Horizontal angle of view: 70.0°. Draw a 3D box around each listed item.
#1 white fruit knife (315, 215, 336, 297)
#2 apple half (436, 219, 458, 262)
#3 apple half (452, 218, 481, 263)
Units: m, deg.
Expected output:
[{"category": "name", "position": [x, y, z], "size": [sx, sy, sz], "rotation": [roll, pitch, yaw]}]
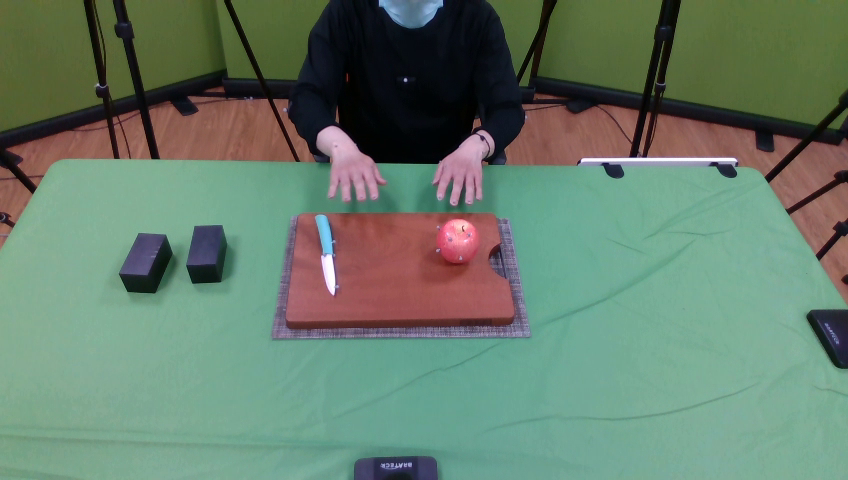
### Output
[{"category": "white fruit knife", "position": [-0.180, 0.025, 1.124], "size": [0.027, 0.016, 0.206], "rotation": [-27, 48, 12]}, {"category": "apple half", "position": [0.039, 0.005, 1.115], "size": [0.033, 0.081, 0.080], "rotation": [-2, 46, -11]}, {"category": "apple half", "position": [0.077, 0.003, 1.122], "size": [0.053, 0.075, 0.080], "rotation": [-1, 42, -11]}]
